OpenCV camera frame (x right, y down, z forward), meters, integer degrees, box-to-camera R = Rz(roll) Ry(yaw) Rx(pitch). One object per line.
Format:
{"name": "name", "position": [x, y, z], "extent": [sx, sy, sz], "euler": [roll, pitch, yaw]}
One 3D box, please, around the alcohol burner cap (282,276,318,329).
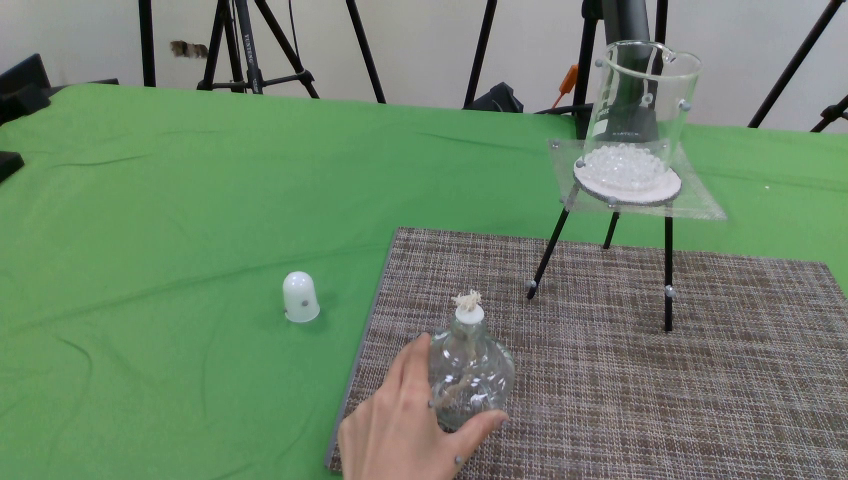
{"name": "alcohol burner cap", "position": [-0.116, 0.055, 0.559], "extent": [0.034, 0.048, 0.033], "euler": [1, 37, 0]}

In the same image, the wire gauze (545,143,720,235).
{"name": "wire gauze", "position": [0.170, -0.050, 0.509], "extent": [0.125, 0.011, 0.120], "euler": [5, 39, -1]}

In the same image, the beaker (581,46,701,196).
{"name": "beaker", "position": [0.170, -0.094, 0.486], "extent": [0.073, 0.101, 0.084], "euler": [30, 45, 30]}

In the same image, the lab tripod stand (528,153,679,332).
{"name": "lab tripod stand", "position": [0.174, 0.000, 0.552], "extent": [0.148, 0.132, 0.147], "euler": [2, 37, -1]}

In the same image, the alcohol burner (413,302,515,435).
{"name": "alcohol burner", "position": [0.031, 0.089, 0.449], "extent": [0.078, 0.120, 0.077], "euler": [1, 39, -1]}
